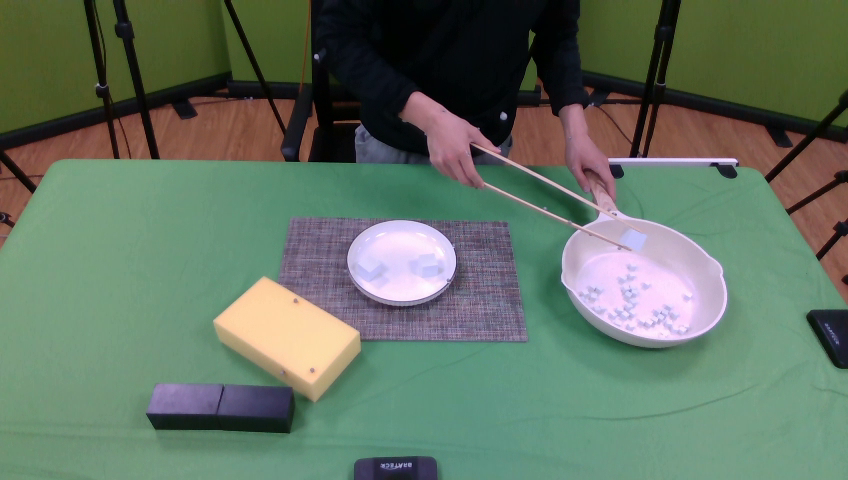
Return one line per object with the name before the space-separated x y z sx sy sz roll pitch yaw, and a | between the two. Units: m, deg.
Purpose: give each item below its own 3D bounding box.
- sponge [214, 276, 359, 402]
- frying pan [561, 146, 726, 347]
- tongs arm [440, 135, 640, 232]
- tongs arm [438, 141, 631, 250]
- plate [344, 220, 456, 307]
sponge | -0.225 0.158 0.998 0.206 0.061 0.118 27 52 18
frying pan | 0.378 -0.005 1.175 0.307 0.103 0.484 -4 55 -9
tongs arm | 0.205 -0.102 1.079 0.387 0.028 0.028 28 12 8
tongs arm | 0.194 -0.082 1.082 0.384 0.051 0.026 24 8 9
plate | -0.045 0.047 1.133 0.208 0.039 0.206 3 46 -2
